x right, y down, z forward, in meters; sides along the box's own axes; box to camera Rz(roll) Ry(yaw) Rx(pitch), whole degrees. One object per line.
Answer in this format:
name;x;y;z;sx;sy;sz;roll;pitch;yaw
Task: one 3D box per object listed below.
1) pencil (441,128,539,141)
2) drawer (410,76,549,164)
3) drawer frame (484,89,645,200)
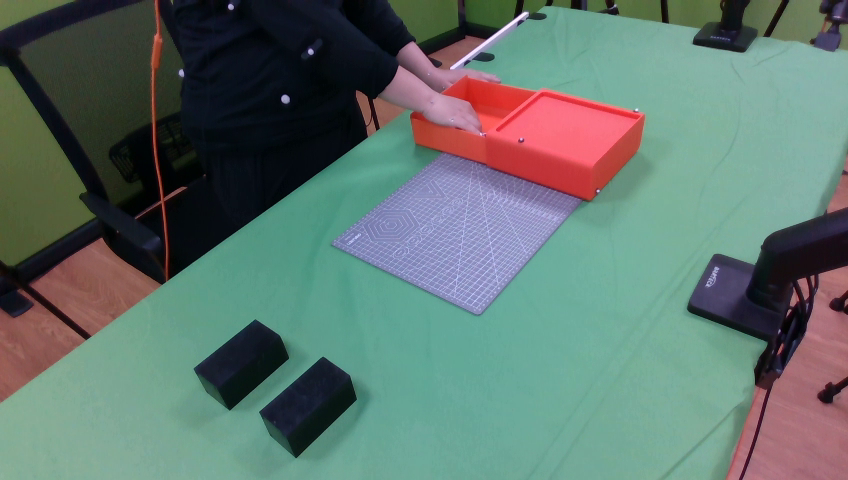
pencil;0.128;-0.206;1.193;0.194;0.012;0.012;-4;40;7
drawer;0.114;-0.238;1.190;0.210;0.073;0.195;22;47;33
drawer frame;0.253;-0.180;1.094;0.212;0.083;0.202;24;48;31
